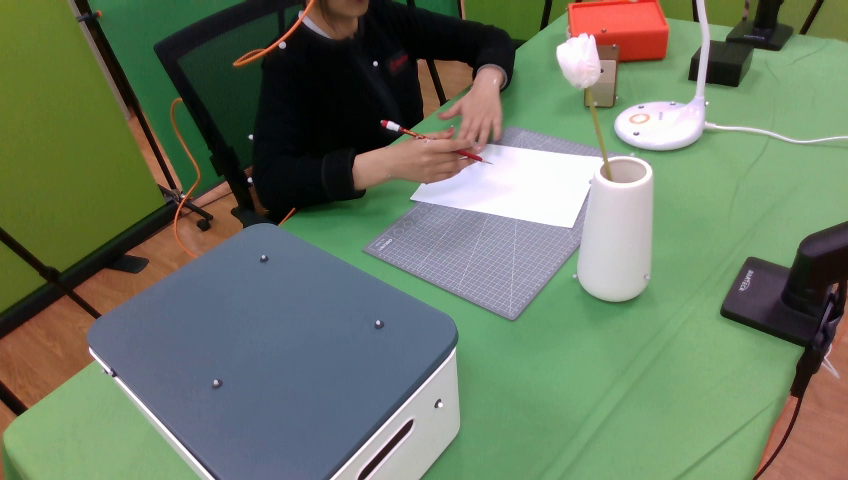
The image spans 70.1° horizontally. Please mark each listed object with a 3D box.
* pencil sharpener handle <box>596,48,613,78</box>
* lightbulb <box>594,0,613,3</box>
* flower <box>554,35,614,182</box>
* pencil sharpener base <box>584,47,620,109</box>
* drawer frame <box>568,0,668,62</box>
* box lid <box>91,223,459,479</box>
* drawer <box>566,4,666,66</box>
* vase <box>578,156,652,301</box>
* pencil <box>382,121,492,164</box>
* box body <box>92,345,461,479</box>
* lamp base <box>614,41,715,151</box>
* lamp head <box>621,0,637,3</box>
[{"bbox_3d":[0.382,-0.378,1.276,0.036,0.068,0.030,3,41,21],"label":"pencil sharpener handle"},{"bbox_3d":[0.305,-0.437,0.977,0.060,0.107,0.059,12,44,-11],"label":"lightbulb"},{"bbox_3d":[0.237,-0.083,0.774,0.044,0.363,0.038,-22,26,6],"label":"flower"},{"bbox_3d":[0.367,-0.336,1.248,0.061,0.107,0.076,6,42,19],"label":"pencil sharpener base"},{"bbox_3d":[0.450,-0.496,1.441,0.213,0.083,0.201,-1,40,9],"label":"drawer frame"},{"bbox_3d":[-0.174,0.103,0.667,0.368,0.015,0.264,24,48,35],"label":"box lid"},{"bbox_3d":[0.447,-0.493,1.441,0.211,0.073,0.194,0,40,9],"label":"drawer"},{"bbox_3d":[0.261,-0.011,0.812,0.098,0.201,0.097,-4,40,4],"label":"vase"},{"bbox_3d":[0.022,-0.159,0.995,0.194,0.012,0.012,20,44,-1],"label":"pencil"},{"bbox_3d":[-0.162,0.170,0.708,0.361,0.161,0.255,25,50,34],"label":"box body"},{"bbox_3d":[0.449,-0.277,1.106,0.179,0.181,0.160,1,41,9],"label":"lamp base"},{"bbox_3d":[0.319,-0.453,0.962,0.113,0.123,0.112,20,33,-13],"label":"lamp head"}]
